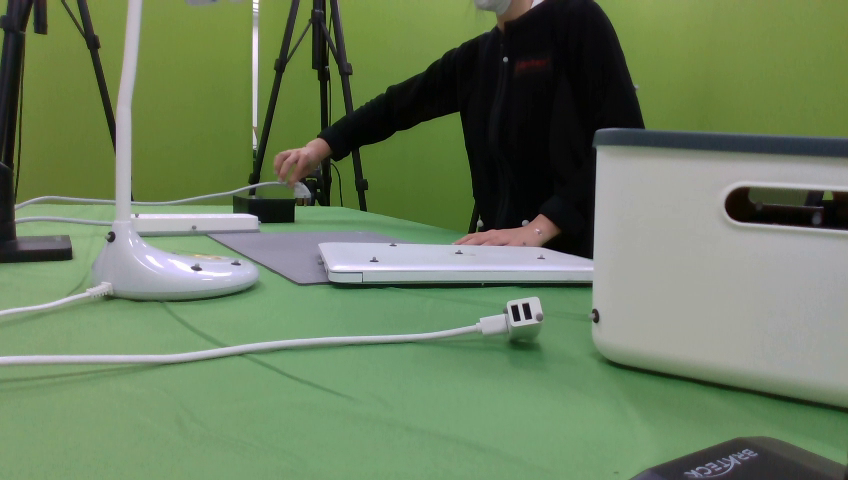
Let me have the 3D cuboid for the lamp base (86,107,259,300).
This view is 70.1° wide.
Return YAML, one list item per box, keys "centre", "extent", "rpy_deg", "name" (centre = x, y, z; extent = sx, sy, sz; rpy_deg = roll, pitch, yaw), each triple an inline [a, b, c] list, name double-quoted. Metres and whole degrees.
- centre: [-0.254, -0.039, 0.603]
  extent: [0.160, 0.180, 0.179]
  rpy_deg: [5, 10, 18]
  name: "lamp base"

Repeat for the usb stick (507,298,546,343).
- centre: [0.079, 0.065, 0.470]
  extent: [0.027, 0.021, 0.059]
  rpy_deg: [-12, -25, 4]
  name: "usb stick"

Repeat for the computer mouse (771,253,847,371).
- centre: [0.344, 0.057, 0.518]
  extent: [0.063, 0.041, 0.117]
  rpy_deg: [13, 48, 3]
  name: "computer mouse"

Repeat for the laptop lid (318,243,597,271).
- centre: [0.046, 0.022, 0.789]
  extent: [0.358, 0.013, 0.241]
  rpy_deg: [1, 6, -12]
  name: "laptop lid"

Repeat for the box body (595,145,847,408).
- centre: [0.309, 0.007, 0.510]
  extent: [0.253, 0.160, 0.366]
  rpy_deg: [6, 8, 29]
  name: "box body"

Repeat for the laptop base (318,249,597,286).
- centre: [0.046, 0.034, 0.789]
  extent: [0.355, 0.023, 0.235]
  rpy_deg: [1, 5, -14]
  name: "laptop base"

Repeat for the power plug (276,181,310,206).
- centre: [-0.276, -0.100, 1.295]
  extent: [0.072, 0.052, 0.035]
  rpy_deg: [8, 14, 26]
  name: "power plug"

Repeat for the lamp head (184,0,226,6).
- centre: [-0.229, -0.320, 0.627]
  extent: [0.112, 0.112, 0.123]
  rpy_deg: [6, -35, 26]
  name: "lamp head"

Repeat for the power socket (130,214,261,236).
- centre: [-0.397, -0.028, 1.048]
  extent: [0.228, 0.032, 0.072]
  rpy_deg: [-3, 8, -35]
  name: "power socket"

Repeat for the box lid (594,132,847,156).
- centre: [0.310, -0.066, 0.499]
  extent: [0.262, 0.015, 0.373]
  rpy_deg: [7, 8, 29]
  name: "box lid"
